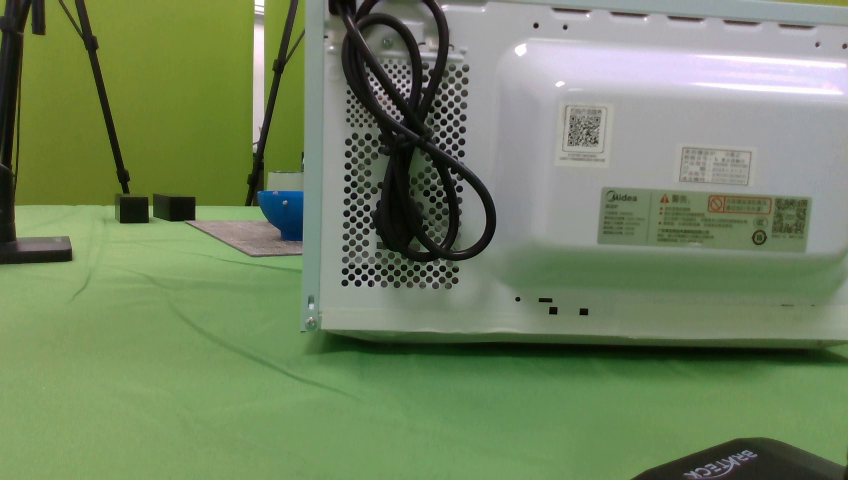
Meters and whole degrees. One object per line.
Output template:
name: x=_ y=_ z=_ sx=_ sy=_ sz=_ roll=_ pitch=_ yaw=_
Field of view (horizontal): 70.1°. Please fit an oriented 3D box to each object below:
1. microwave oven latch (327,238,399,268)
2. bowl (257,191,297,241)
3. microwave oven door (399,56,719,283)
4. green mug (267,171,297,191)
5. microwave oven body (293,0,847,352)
microwave oven latch: x=-0.069 y=0.015 z=0.694 sx=0.079 sy=0.029 sz=0.030 roll=3 pitch=7 yaw=-3
bowl: x=-0.207 y=-0.041 z=1.027 sx=0.151 sy=0.077 sz=0.151 roll=3 pitch=8 yaw=0
microwave oven door: x=0.155 y=-0.078 z=0.697 sx=0.356 sy=0.243 sz=0.039 roll=2 pitch=8 yaw=-5
green mug: x=-0.277 y=-0.090 z=1.276 sx=0.092 sy=0.105 sz=0.126 roll=6 pitch=9 yaw=25
microwave oven body: x=0.122 y=-0.055 z=0.550 sx=0.442 sy=0.260 sz=0.325 roll=3 pitch=7 yaw=-5
